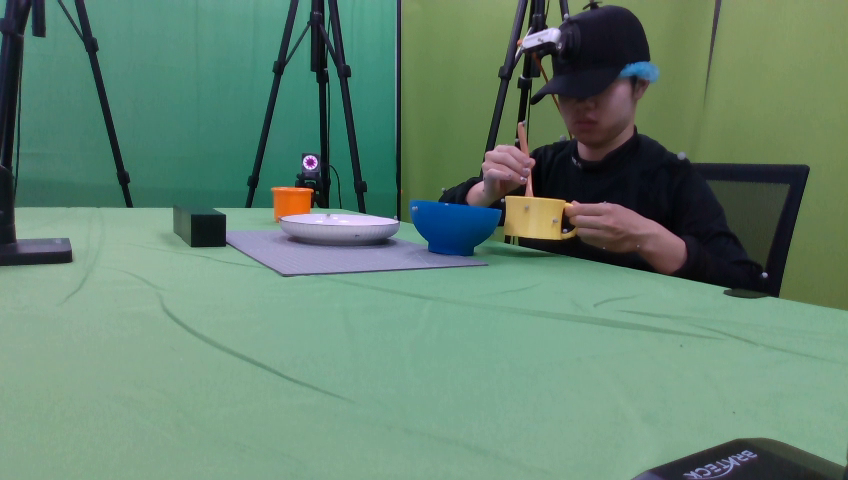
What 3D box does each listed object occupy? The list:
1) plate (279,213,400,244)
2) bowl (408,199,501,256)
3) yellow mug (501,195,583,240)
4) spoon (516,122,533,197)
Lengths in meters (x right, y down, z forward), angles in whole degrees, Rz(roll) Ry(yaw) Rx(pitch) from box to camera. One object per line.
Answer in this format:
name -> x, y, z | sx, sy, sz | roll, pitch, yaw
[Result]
plate -> -0.147, -0.020, 1.060 | 0.209, 0.038, 0.209 | 2, 7, 0
bowl -> 0.045, -0.019, 0.967 | 0.151, 0.077, 0.151 | 6, 5, 0
yellow mug -> 0.195, -0.036, 0.995 | 0.131, 0.064, 0.100 | 6, 3, 2
spoon -> 0.169, -0.105, 1.000 | 0.022, 0.193, 0.041 | 5, -18, -28
